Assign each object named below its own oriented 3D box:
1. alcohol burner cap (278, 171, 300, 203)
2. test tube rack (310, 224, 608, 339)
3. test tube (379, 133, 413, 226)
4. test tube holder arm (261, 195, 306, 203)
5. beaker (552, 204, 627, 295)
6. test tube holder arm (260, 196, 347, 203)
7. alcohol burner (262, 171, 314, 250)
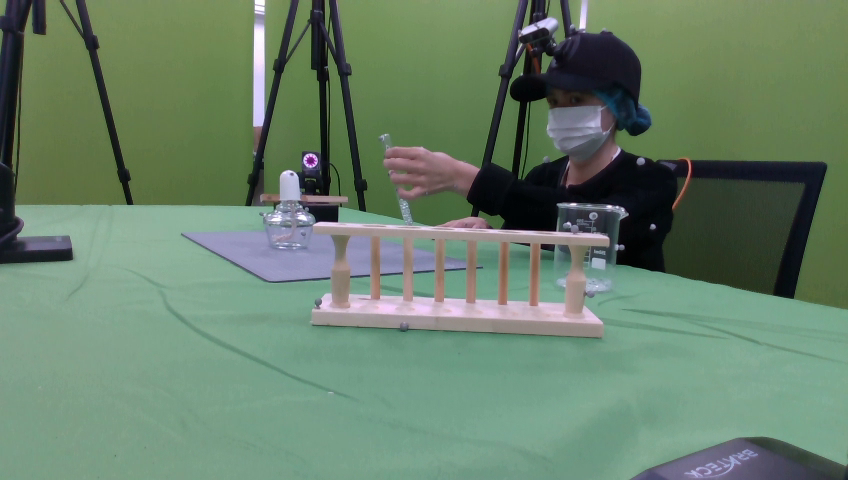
[{"bbox_3d":[-0.203,-0.080,0.909,0.034,0.048,0.034,-1,3,0],"label":"alcohol burner cap"},{"bbox_3d":[0.028,0.032,0.528,0.242,0.085,0.067,3,7,0],"label":"test tube rack"},{"bbox_3d":[-0.043,-0.095,0.957,0.017,0.150,0.017,-15,7,2],"label":"test tube"},{"bbox_3d":[-0.275,-0.081,1.184,0.088,0.015,0.010,-1,0,-32],"label":"test tube holder arm"},{"bbox_3d":[0.191,0.010,0.708,0.083,0.100,0.074,8,9,33],"label":"beaker"},{"bbox_3d":[-0.239,-0.082,1.213,0.179,0.015,0.013,-1,0,-32],"label":"test tube holder arm"},{"bbox_3d":[-0.205,-0.045,0.913,0.078,0.119,0.078,1,9,0],"label":"alcohol burner"}]
